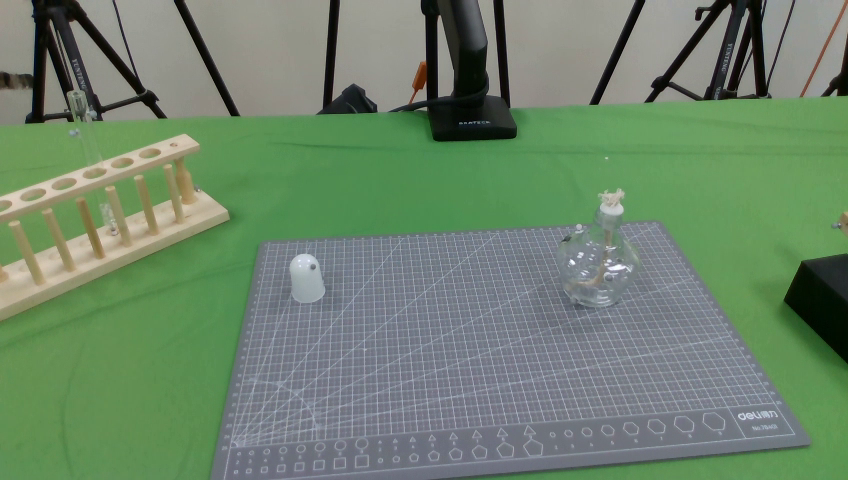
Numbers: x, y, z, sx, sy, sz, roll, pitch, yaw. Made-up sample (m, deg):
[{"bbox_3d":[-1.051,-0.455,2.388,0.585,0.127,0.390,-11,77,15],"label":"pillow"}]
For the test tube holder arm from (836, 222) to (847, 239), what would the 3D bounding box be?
[{"bbox_3d":[0.423,0.034,0.533,0.015,0.013,0.176,0,36,-3],"label":"test tube holder arm"}]

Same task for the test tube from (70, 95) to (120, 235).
[{"bbox_3d":[-0.329,-0.071,0.610,0.017,0.151,0.017,2,32,-1],"label":"test tube"}]

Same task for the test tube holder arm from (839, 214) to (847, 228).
[{"bbox_3d":[0.421,0.003,0.566,0.015,0.010,0.087,0,36,-3],"label":"test tube holder arm"}]

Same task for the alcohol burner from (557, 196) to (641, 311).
[{"bbox_3d":[0.165,0.008,0.563,0.078,0.120,0.077,1,39,0],"label":"alcohol burner"}]

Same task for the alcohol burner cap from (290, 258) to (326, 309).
[{"bbox_3d":[-0.112,0.038,0.580,0.034,0.048,0.033,1,37,0],"label":"alcohol burner cap"}]

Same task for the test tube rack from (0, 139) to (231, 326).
[{"bbox_3d":[-0.330,-0.016,0.619,0.242,0.086,0.066,-30,46,-34],"label":"test tube rack"}]
